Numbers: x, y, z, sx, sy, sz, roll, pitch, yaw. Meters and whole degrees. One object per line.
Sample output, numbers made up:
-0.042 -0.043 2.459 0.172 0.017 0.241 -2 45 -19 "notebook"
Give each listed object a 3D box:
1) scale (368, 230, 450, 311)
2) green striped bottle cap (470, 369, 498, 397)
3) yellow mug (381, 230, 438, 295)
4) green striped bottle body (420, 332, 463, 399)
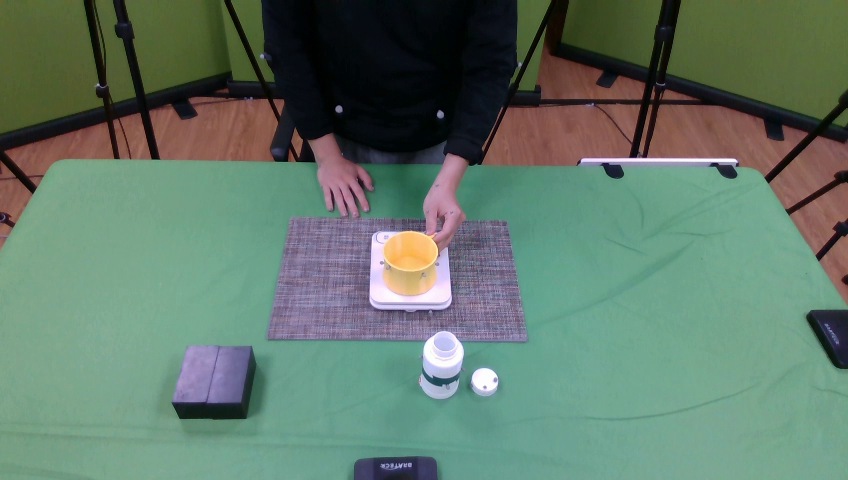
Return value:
-0.029 0.048 1.137 0.149 0.032 0.199 1 46 -4 "scale"
0.098 0.232 0.989 0.044 0.020 0.044 2 41 -1 "green striped bottle cap"
-0.018 0.031 1.088 0.099 0.064 0.130 30 50 24 "yellow mug"
0.027 0.193 0.947 0.063 0.120 0.063 2 47 -2 "green striped bottle body"
